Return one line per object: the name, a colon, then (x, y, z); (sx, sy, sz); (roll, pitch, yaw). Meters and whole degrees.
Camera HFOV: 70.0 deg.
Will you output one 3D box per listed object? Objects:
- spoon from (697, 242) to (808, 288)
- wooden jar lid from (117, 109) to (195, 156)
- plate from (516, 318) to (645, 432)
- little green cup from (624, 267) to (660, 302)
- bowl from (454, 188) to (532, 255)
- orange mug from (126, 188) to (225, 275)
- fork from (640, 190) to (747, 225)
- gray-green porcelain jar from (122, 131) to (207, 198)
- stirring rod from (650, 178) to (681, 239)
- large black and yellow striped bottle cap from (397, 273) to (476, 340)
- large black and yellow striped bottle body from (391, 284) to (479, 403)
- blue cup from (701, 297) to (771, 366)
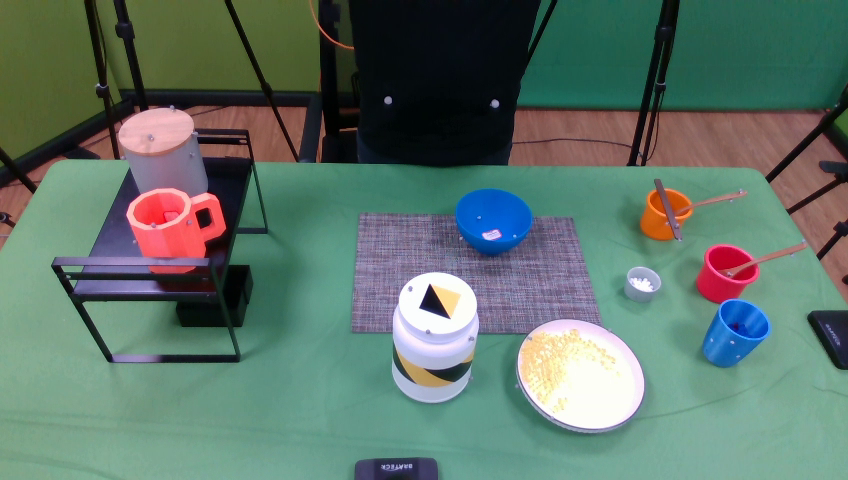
spoon: (0.601, 0.045, 1.116); (0.194, 0.022, 0.041); (-29, 34, 30)
wooden jar lid: (-0.400, -0.159, 0.910); (0.108, 0.021, 0.107); (2, 47, -2)
plate: (0.253, 0.221, 0.992); (0.209, 0.038, 0.208); (2, 46, -2)
little green cup: (0.405, 0.084, 1.135); (0.061, 0.039, 0.061); (3, 46, -3)
bowl: (0.131, -0.025, 1.186); (0.151, 0.077, 0.150); (2, 46, -2)
orange mug: (-0.357, -0.020, 0.885); (0.126, 0.101, 0.083); (-29, 54, -23)
fork: (0.533, -0.064, 1.211); (0.207, 0.019, 0.028); (-22, 28, 39)
gray-green porcelain jar: (-0.404, -0.116, 0.955); (0.106, 0.127, 0.105); (3, 46, -3)
stirring rod: (0.479, -0.065, 1.204); (0.014, 0.006, 0.175); (3, 46, -4)
large black and yellow striped bottle cap: (0.018, 0.094, 0.878); (0.115, 0.019, 0.114); (3, 46, -3)
large black and yellow striped bottle body: (0.015, 0.153, 0.938); (0.131, 0.185, 0.130); (2, 46, -2)
blue cup: (0.519, 0.162, 1.025); (0.093, 0.101, 0.092); (3, 45, -3)
